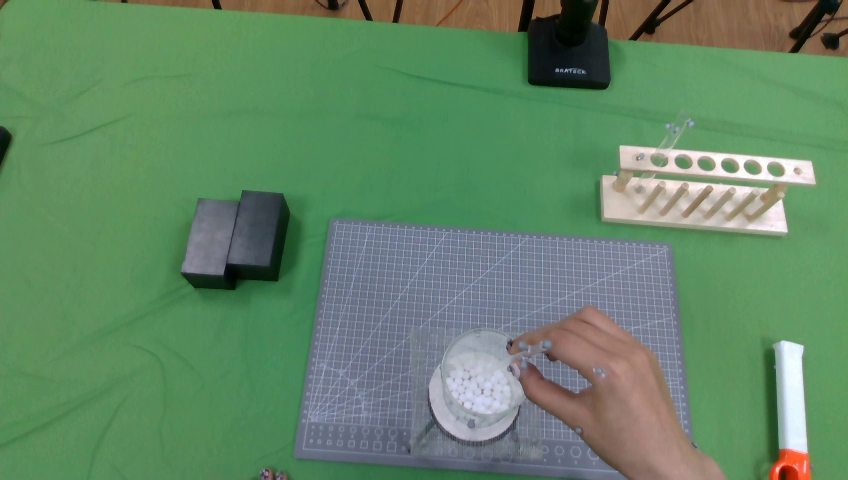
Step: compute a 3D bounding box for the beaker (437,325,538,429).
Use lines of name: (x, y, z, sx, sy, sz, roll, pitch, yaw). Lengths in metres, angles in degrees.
beaker: (0.051, 0.125, 0.535, 0.084, 0.101, 0.073, 0, 65, -2)

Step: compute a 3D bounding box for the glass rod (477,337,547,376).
glass rod: (0.063, 0.093, 0.470, 0.008, 0.200, 0.008, 2, 72, -6)

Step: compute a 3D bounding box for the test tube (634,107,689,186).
test tube: (0.290, -0.111, 0.748, 0.017, 0.151, 0.017, 0, 63, -1)

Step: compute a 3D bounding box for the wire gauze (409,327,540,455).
wire gauze: (0.047, 0.141, 0.580, 0.125, 0.011, 0.120, 1, 64, 1)

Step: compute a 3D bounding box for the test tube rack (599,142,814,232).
test tube rack: (0.360, -0.067, 0.785, 0.242, 0.086, 0.066, 4, 66, 0)

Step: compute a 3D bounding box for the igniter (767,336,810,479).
igniter: (0.413, 0.244, 0.682, 0.057, 0.025, 0.274, 15, 66, -7)

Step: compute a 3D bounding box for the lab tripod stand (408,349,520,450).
lab tripod stand: (0.045, 0.171, 0.639, 0.148, 0.132, 0.147, 0, 65, 0)

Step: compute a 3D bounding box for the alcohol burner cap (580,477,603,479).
alcohol burner cap: (0.183, 0.272, 0.654, 0.034, 0.048, 0.033, 0, 65, -1)

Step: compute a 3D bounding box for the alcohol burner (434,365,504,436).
alcohol burner: (0.050, 0.169, 0.651, 0.078, 0.120, 0.077, 2, 64, -3)
